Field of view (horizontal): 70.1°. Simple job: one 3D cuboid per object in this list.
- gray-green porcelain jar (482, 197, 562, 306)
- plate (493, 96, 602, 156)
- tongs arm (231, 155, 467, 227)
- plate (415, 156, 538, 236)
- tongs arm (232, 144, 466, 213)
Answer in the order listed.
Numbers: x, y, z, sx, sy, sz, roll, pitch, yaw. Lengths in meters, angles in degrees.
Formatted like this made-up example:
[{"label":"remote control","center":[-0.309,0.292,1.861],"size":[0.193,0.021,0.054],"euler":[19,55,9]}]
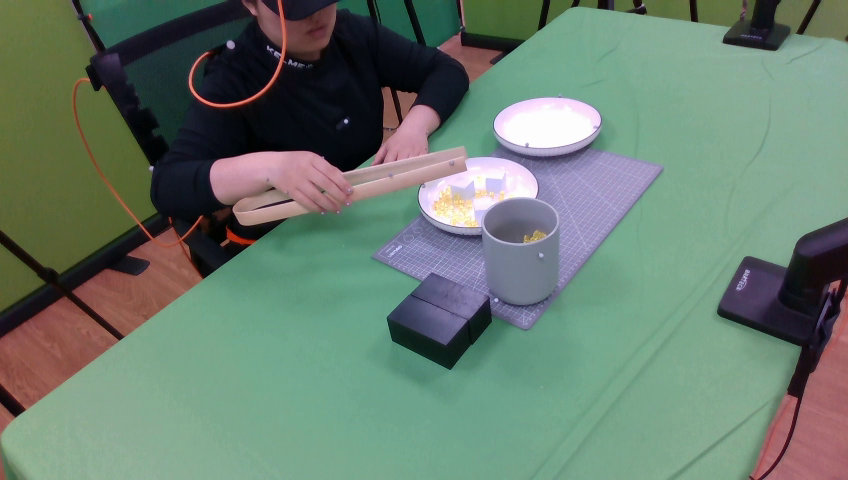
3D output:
[{"label":"gray-green porcelain jar","center":[0.138,0.020,0.846],"size":[0.106,0.127,0.105],"euler":[-5,40,5]},{"label":"plate","center":[0.238,-0.218,1.180],"size":[0.209,0.038,0.208],"euler":[-4,39,4]},{"label":"tongs arm","center":[-0.122,-0.080,0.949],"size":[0.384,0.027,0.050],"euler":[-15,36,5]},{"label":"plate","center":[0.090,-0.072,1.034],"size":[0.207,0.039,0.206],"euler":[-5,40,5]},{"label":"tongs arm","center":[-0.122,-0.095,0.970],"size":[0.387,0.028,0.028],"euler":[-13,40,8]}]
